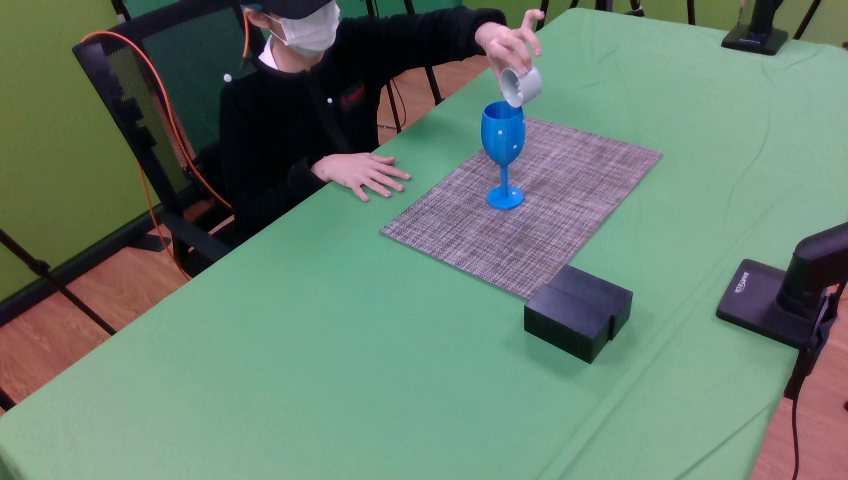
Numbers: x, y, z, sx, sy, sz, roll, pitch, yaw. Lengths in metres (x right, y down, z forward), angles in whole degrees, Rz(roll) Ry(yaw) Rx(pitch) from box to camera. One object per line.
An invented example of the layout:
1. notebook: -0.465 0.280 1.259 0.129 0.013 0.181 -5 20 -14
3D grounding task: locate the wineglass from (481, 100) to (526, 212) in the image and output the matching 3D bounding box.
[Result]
1. wineglass: 0.132 -0.137 0.993 0.074 0.173 0.073 -5 40 4

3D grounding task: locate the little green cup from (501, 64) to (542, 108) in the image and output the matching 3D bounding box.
1. little green cup: 0.149 -0.238 0.925 0.039 0.062 0.061 -26 43 -16
